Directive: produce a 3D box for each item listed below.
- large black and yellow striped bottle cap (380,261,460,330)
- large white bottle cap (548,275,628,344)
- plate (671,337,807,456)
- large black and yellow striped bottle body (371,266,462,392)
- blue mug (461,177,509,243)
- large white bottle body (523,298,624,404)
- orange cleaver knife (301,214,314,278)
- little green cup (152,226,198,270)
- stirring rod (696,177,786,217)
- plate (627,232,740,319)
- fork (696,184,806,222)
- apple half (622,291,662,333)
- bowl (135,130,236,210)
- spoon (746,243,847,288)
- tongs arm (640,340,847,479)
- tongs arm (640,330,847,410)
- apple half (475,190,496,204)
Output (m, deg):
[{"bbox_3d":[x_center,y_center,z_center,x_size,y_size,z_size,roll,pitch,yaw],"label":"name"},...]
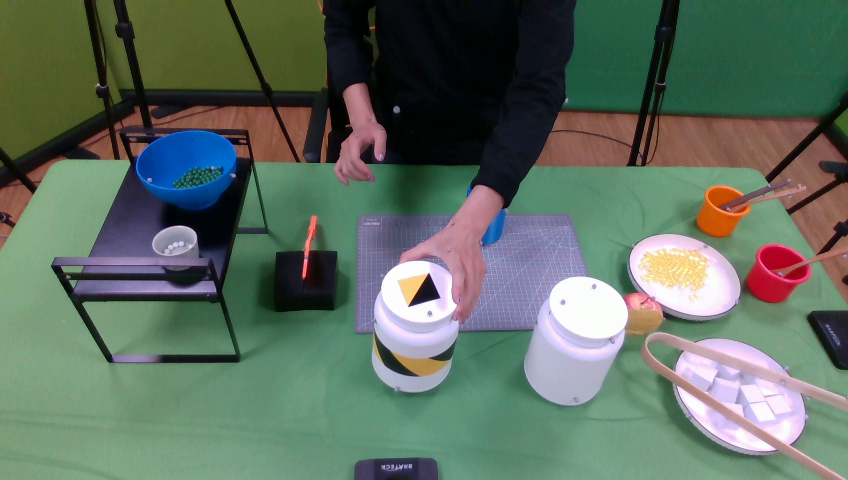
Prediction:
[{"bbox_3d":[-0.006,0.077,0.866,0.115,0.019,0.114,4,45,-3],"label":"large black and yellow striped bottle cap"},{"bbox_3d":[0.240,0.100,0.890,0.115,0.018,0.114,3,47,-3],"label":"large white bottle cap"},{"bbox_3d":[0.504,0.254,0.984,0.208,0.039,0.206,2,46,-2],"label":"plate"},{"bbox_3d":[-0.013,0.134,0.928,0.131,0.185,0.130,4,46,-4],"label":"large black and yellow striped bottle body"},{"bbox_3d":[0.114,-0.070,1.211,0.082,0.106,0.115,-12,48,-15],"label":"blue mug"},{"bbox_3d":[0.235,0.159,0.952,0.131,0.185,0.130,2,47,-2],"label":"large white bottle body"},{"bbox_3d":[-0.218,0.008,1.131,0.012,0.077,0.210,7,19,-9],"label":"orange cleaver knife"},{"bbox_3d":[-0.364,0.013,0.894,0.061,0.039,0.061,3,46,-3],"label":"little green cup"},{"bbox_3d":[0.648,-0.087,1.244,0.176,0.006,0.014,-25,50,29],"label":"stirring rod"},{"bbox_3d":[0.489,0.070,1.156,0.209,0.038,0.208,3,46,-3],"label":"plate"},{"bbox_3d":[0.658,-0.074,1.229,0.207,0.019,0.028,-24,33,36],"label":"fork"},{"bbox_3d":[0.372,0.123,1.074,0.081,0.075,0.053,0,43,1],"label":"apple half"},{"bbox_3d":[-0.375,-0.102,0.978,0.151,0.077,0.150,3,46,-2],"label":"bowl"},{"bbox_3d":[0.702,0.044,1.126,0.194,0.022,0.041,-29,38,30],"label":"spoon"},{"bbox_3d":[0.500,0.277,0.919,0.386,0.028,0.028,34,59,22],"label":"tongs arm"},{"bbox_3d":[0.543,0.225,0.969,0.384,0.026,0.050,22,52,13],"label":"tongs arm"},{"bbox_3d":[0.110,-0.067,1.200,0.032,0.081,0.081,28,50,12],"label":"apple half"}]
